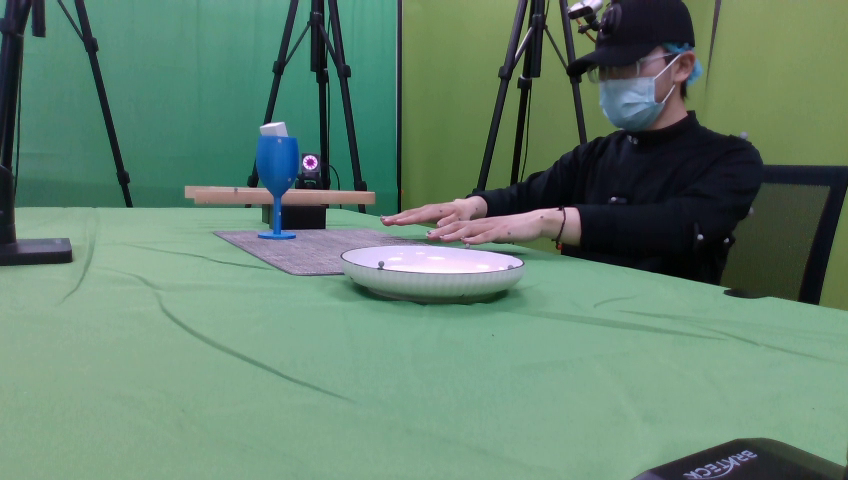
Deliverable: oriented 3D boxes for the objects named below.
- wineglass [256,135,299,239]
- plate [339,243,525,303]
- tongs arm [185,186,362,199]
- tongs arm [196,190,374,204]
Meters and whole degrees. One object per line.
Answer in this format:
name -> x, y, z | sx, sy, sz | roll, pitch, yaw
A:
wineglass -> -0.252, -0.091, 1.035 | 0.074, 0.172, 0.073 | 2, 7, 0
plate -> 0.008, 0.035, 0.682 | 0.209, 0.038, 0.209 | 3, 7, 0
tongs arm -> -0.304, -0.097, 1.296 | 0.389, 0.028, 0.028 | 0, 2, -20
tongs arm -> -0.266, -0.086, 1.227 | 0.387, 0.026, 0.050 | -2, 7, -33
